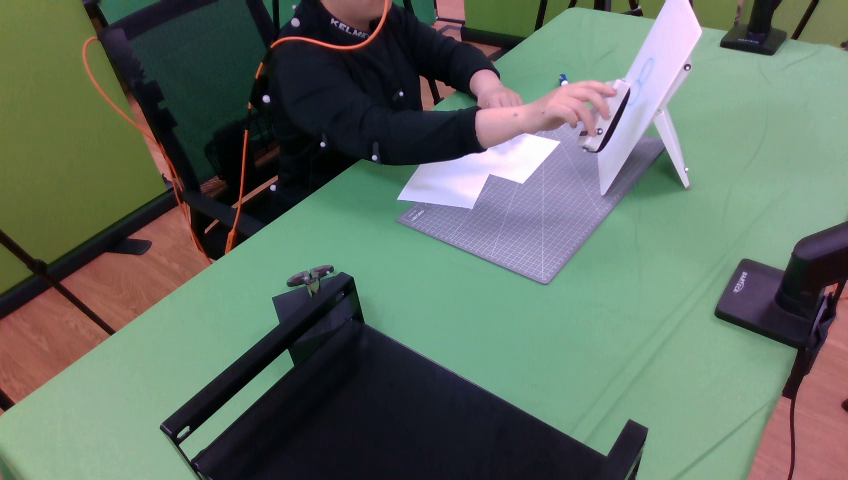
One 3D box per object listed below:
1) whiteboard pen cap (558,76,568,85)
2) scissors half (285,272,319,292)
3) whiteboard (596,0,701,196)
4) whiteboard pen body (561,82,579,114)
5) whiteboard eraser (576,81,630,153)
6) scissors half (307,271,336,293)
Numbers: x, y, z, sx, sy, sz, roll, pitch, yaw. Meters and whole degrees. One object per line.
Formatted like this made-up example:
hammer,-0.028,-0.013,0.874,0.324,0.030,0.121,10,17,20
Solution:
whiteboard pen cap,0.310,-0.350,1.341,0.018,0.018,0.033,-6,41,2
scissors half,-0.172,0.063,0.868,0.040,0.013,0.174,-11,7,-21
whiteboard,0.421,-0.227,1.010,0.144,0.305,0.216,18,42,-2
whiteboard pen body,0.310,-0.311,1.298,0.017,0.017,0.140,-6,41,2
whiteboard eraser,0.284,-0.192,0.951,0.042,0.112,0.055,24,5,-6
scissors half,-0.152,0.061,0.873,0.040,0.013,0.175,-4,6,-4
